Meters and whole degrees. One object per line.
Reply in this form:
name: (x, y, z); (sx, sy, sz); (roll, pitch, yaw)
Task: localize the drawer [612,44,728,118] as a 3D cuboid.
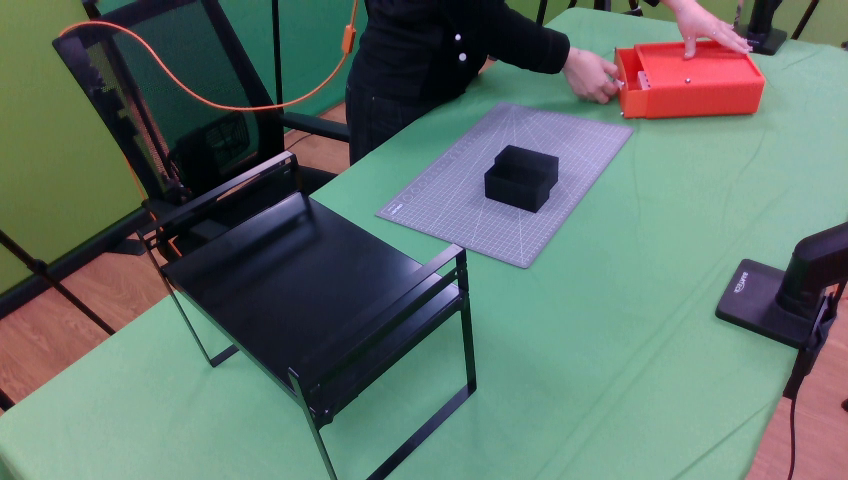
drawer: (0.503, -0.330, 1.239); (0.211, 0.073, 0.194); (0, 40, 8)

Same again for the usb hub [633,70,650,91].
usb hub: (0.463, -0.319, 1.254); (0.049, 0.025, 0.125); (10, 38, 20)

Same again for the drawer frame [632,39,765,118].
drawer frame: (0.543, -0.332, 1.233); (0.213, 0.083, 0.201); (-1, 41, 7)
